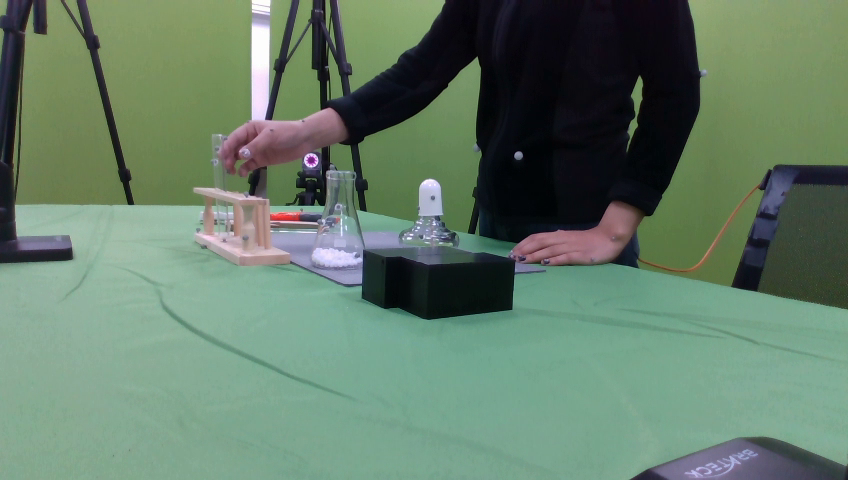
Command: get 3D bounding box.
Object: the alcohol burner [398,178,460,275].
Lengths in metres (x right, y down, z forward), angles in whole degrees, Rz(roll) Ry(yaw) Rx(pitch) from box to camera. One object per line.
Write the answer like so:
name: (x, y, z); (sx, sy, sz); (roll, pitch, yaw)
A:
alcohol burner: (0.007, -0.017, 0.751); (0.078, 0.119, 0.078); (3, 9, 0)

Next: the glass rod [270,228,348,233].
glass rod: (-0.234, -0.018, 1.104); (0.201, 0.008, 0.008); (1, 7, -26)

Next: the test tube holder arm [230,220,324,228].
test tube holder arm: (-0.275, -0.030, 1.144); (0.179, 0.015, 0.013); (-2, 44, -31)

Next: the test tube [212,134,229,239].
test tube: (-0.290, -0.075, 0.862); (0.017, 0.150, 0.017); (-2, 6, 0)

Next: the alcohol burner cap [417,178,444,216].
alcohol burner cap: (0.007, -0.053, 0.745); (0.034, 0.048, 0.034); (-3, 6, 1)

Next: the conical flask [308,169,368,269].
conical flask: (-0.107, -0.027, 0.762); (0.075, 0.122, 0.075); (2, 7, 0)

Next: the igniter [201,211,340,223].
igniter: (-0.311, -0.047, 1.243); (0.278, 0.025, 0.057); (-1, -2, -24)

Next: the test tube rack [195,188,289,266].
test tube rack: (-0.266, -0.025, 0.863); (0.067, 0.085, 0.241); (-2, 8, -33)

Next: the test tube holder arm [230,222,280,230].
test tube holder arm: (-0.312, -0.025, 1.118); (0.088, 0.015, 0.010); (-1, 43, -30)
